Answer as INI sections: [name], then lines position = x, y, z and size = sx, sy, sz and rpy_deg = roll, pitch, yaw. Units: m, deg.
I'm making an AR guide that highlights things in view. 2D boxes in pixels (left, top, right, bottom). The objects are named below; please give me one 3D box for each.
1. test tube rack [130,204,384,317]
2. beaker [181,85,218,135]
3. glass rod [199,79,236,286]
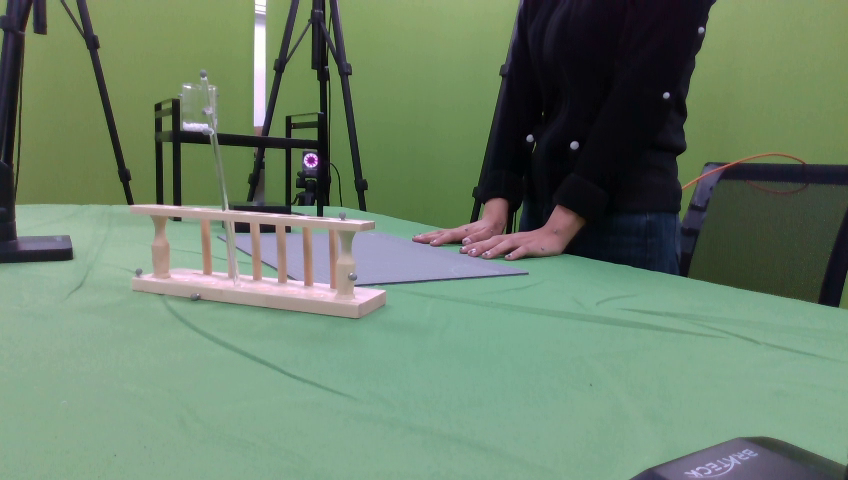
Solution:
[test tube rack]
position = -0.162, 0.013, 0.589
size = 0.242, 0.085, 0.067
rpy_deg = 5, 8, 17
[beaker]
position = -0.476, -0.276, 1.290
size = 0.074, 0.100, 0.083
rpy_deg = -4, 10, -36
[glass rod]
position = -0.194, -0.050, 0.569
size = 0.008, 0.199, 0.008
rpy_deg = -6, 7, 1
